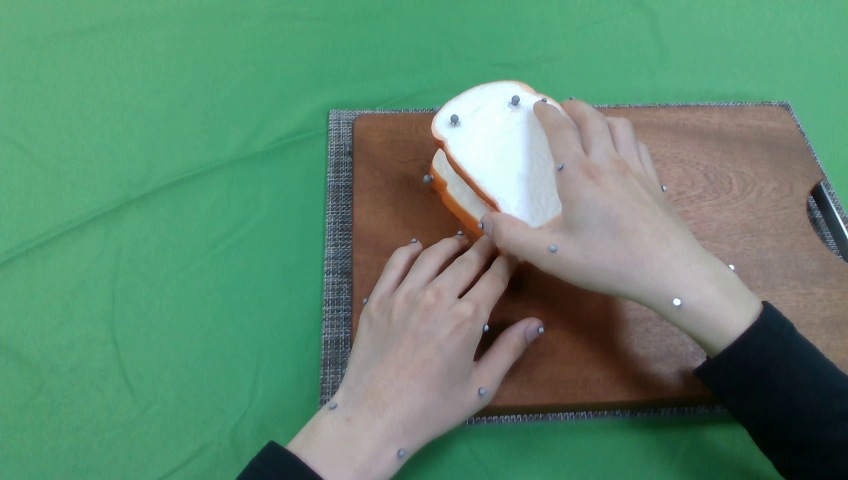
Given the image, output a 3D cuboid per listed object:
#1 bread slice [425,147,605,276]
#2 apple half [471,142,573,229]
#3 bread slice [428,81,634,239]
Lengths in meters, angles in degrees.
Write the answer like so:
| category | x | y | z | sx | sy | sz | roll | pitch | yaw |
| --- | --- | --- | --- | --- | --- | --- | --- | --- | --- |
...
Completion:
| category | x | y | z | sx | sy | sz | roll | pitch | yaw |
| --- | --- | --- | --- | --- | --- | --- | --- | --- | --- |
| bread slice | 0.064 | -0.043 | 0.487 | 0.105 | 0.019 | 0.130 | -33 | 65 | -23 |
| apple half | 0.077 | -0.048 | 0.465 | 0.081 | 0.033 | 0.080 | 2 | 60 | -3 |
| bread slice | 0.068 | -0.067 | 0.448 | 0.107 | 0.018 | 0.133 | -36 | 63 | -25 |
